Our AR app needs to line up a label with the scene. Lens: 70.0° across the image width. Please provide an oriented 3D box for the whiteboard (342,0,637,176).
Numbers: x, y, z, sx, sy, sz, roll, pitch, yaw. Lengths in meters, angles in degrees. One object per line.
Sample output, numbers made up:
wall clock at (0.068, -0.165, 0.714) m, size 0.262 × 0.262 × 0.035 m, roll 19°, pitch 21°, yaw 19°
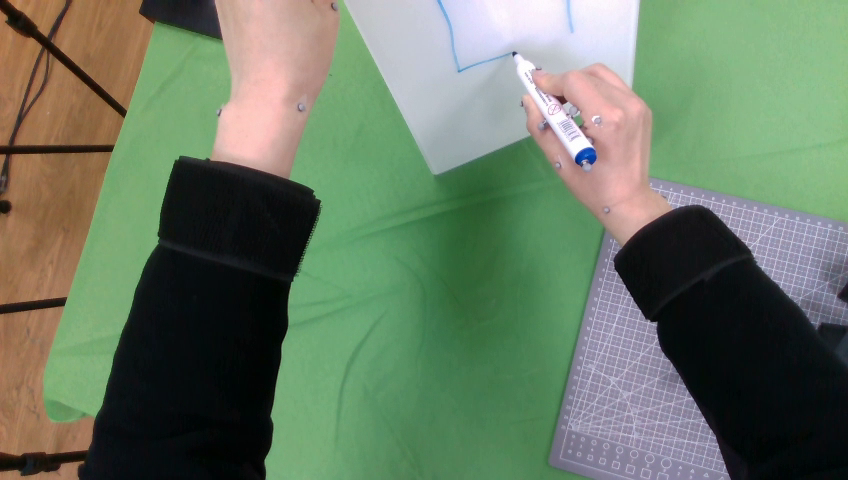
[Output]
whiteboard at (0.049, -0.221, 0.509) m, size 0.217 × 0.308 × 0.142 m, roll -22°, pitch 65°, yaw 6°

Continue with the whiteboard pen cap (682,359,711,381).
whiteboard pen cap at (0.256, 0.121, 0.572) m, size 0.018 × 0.033 × 0.018 m, roll 0°, pitch 89°, yaw 5°

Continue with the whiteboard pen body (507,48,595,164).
whiteboard pen body at (0.090, -0.107, 0.456) m, size 0.017 × 0.017 × 0.139 m, roll -27°, pitch 52°, yaw 5°
